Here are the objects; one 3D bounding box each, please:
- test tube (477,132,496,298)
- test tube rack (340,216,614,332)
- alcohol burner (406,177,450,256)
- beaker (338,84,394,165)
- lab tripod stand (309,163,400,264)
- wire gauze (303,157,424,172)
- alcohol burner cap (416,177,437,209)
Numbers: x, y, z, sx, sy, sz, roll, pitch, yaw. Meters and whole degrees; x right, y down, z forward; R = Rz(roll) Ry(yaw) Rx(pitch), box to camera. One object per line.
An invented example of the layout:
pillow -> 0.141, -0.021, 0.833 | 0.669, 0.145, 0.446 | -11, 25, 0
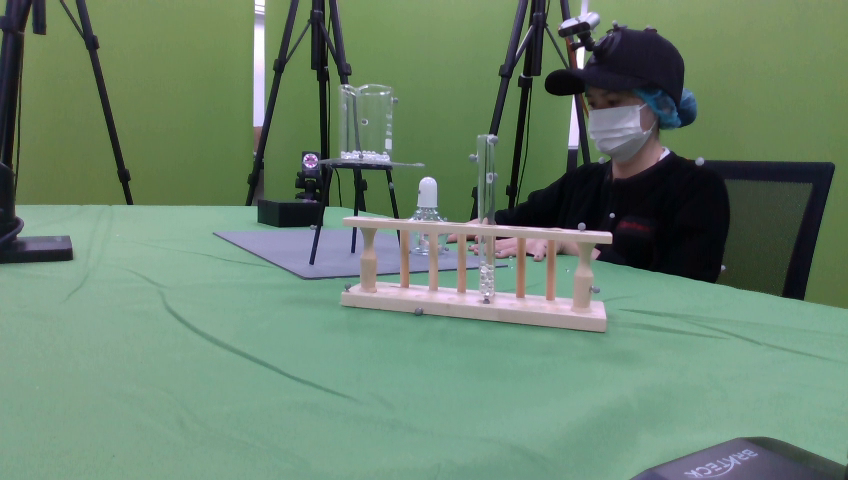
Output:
test tube -> 0.056, -0.020, 0.540 | 0.017, 0.150, 0.017 | -1, 11, 1
test tube rack -> 0.048, 0.026, 0.568 | 0.242, 0.085, 0.067 | 4, 8, 13
alcohol burner -> 0.004, -0.036, 0.917 | 0.078, 0.119, 0.078 | 3, 5, 0
beaker -> -0.077, -0.149, 0.792 | 0.074, 0.100, 0.084 | 2, 6, 9
lab tripod stand -> -0.091, -0.037, 0.813 | 0.148, 0.131, 0.148 | 1, 6, 0
wire gauze -> -0.082, -0.101, 0.799 | 0.126, 0.011, 0.121 | 1, 7, -30
alcohol burner cap -> 0.005, -0.072, 0.914 | 0.034, 0.048, 0.034 | 4, 10, 0
